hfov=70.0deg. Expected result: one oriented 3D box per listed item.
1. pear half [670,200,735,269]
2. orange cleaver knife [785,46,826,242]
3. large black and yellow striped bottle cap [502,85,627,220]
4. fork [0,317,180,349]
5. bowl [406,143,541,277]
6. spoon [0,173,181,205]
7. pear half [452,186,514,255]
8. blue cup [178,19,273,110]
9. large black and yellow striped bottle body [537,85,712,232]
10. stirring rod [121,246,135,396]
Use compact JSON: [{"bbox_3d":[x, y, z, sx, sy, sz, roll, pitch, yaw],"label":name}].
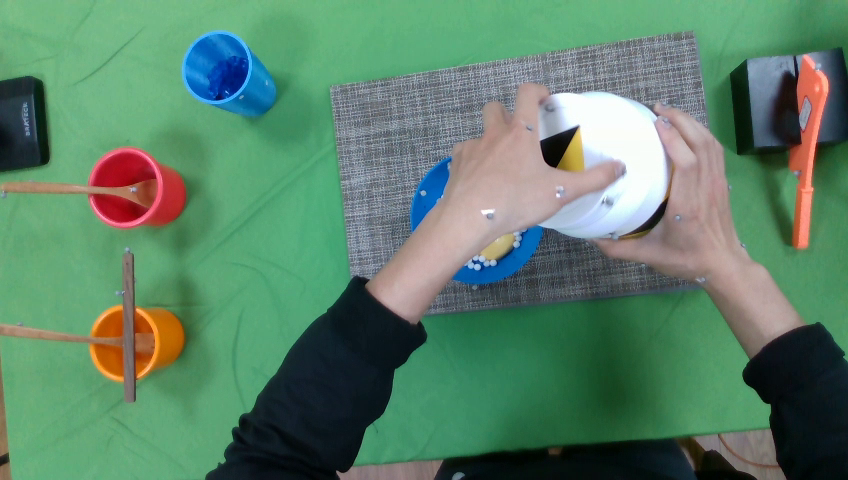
[{"bbox_3d":[0.305,-0.003,0.663,0.056,0.110,0.076,-26,81,6],"label":"pear half"},{"bbox_3d":[0.416,-0.102,0.671,0.012,0.076,0.213,-5,116,12],"label":"orange cleaver knife"},{"bbox_3d":[0.116,-0.074,0.518,0.114,0.019,0.115,3,94,45],"label":"large black and yellow striped bottle cap"},{"bbox_3d":[-0.399,0.109,0.720,0.209,0.018,0.028,14,99,-37],"label":"fork"},{"bbox_3d":[0.059,-0.032,0.706,0.151,0.077,0.151,0,88,7],"label":"bowl"},{"bbox_3d":[-0.397,-0.067,0.729,0.195,0.021,0.041,1,90,-37],"label":"spoon"},{"bbox_3d":[0.064,-0.026,0.699,0.070,0.031,0.087,-33,80,3],"label":"pear half"},{"bbox_3d":[-0.231,-0.200,0.736,0.092,0.100,0.092,0,88,8],"label":"blue cup"},{"bbox_3d":[0.176,-0.073,0.577,0.130,0.185,0.130,1,91,46],"label":"large black and yellow striped bottle body"},{"bbox_3d":[-0.349,0.095,0.713,0.014,0.006,0.176,-2,88,4],"label":"stirring rod"}]
